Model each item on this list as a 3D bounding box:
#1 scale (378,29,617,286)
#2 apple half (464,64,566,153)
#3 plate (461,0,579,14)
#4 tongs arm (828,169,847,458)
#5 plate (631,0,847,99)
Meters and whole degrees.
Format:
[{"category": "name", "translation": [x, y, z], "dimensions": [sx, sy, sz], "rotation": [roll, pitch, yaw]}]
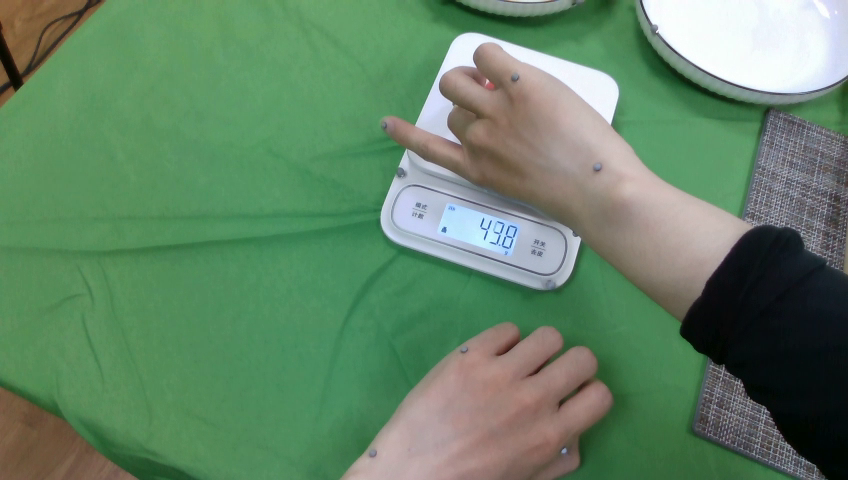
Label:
[{"category": "scale", "translation": [0.062, -0.072, 0.477], "dimensions": [0.148, 0.032, 0.200], "rotation": [18, 65, 5]}, {"category": "apple half", "translation": [0.074, -0.106, 0.460], "dimensions": [0.081, 0.033, 0.080], "rotation": [2, 62, -3]}, {"category": "plate", "translation": [0.082, -0.290, 0.580], "dimensions": [0.208, 0.039, 0.206], "rotation": [2, 64, -3]}, {"category": "tongs arm", "translation": [0.344, -0.020, 0.469], "dimensions": [0.028, 0.028, 0.385], "rotation": [23, 65, 3]}, {"category": "plate", "translation": [0.290, -0.207, 0.555], "dimensions": [0.209, 0.038, 0.207], "rotation": [2, 64, -3]}]
